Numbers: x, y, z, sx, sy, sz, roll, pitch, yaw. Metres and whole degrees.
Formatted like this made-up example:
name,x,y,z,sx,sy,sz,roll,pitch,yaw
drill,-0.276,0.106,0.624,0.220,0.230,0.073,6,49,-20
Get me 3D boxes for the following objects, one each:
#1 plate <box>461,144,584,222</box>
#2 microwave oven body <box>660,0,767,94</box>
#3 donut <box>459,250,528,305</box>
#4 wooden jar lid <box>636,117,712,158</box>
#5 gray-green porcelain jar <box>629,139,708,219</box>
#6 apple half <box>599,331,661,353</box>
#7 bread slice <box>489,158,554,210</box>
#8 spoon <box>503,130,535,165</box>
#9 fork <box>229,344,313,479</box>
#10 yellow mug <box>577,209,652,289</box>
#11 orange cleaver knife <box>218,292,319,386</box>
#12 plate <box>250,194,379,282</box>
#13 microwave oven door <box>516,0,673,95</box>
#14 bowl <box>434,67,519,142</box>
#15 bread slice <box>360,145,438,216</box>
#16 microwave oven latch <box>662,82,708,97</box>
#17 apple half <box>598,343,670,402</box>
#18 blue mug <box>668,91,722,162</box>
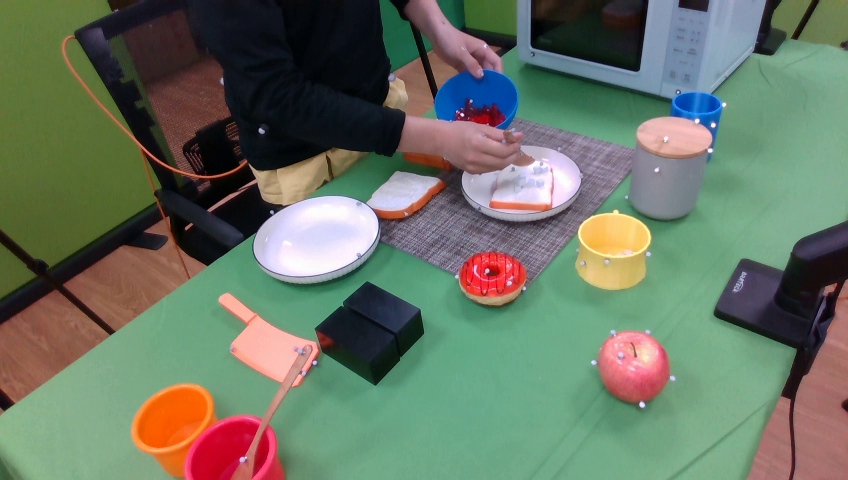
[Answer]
name,x,y,z,sx,sy,sz,roll,pitch,yaw
plate,0.167,-0.095,1.040,0.207,0.039,0.206,-4,40,4
microwave oven body,0.473,-0.516,1.313,0.438,0.261,0.327,26,51,34
donut,0.100,0.053,0.872,0.099,0.048,0.098,-5,40,4
wooden jar lid,0.377,-0.151,0.917,0.108,0.021,0.108,-2,41,3
gray-green porcelain jar,0.383,-0.104,0.958,0.106,0.127,0.105,-4,41,4
apple half,0.249,0.134,0.738,0.081,0.081,0.032,-1,46,7
bread slice,0.173,-0.100,1.048,0.104,0.019,0.131,5,44,12
spoon,0.141,-0.143,0.935,0.041,0.195,0.021,-1,81,18
fork,-0.173,0.205,0.662,0.028,0.019,0.207,29,94,35
yellow mug,0.279,0.004,0.893,0.099,0.064,0.130,5,42,15
orange cleaver knife,-0.234,0.136,0.850,0.209,0.012,0.077,25,57,30
plate,-0.174,0.000,0.984,0.209,0.038,0.208,-3,40,3
microwave oven door,0.344,-0.458,1.257,0.353,0.245,0.039,26,52,33
bowl,0.097,-0.230,1.091,0.151,0.077,0.150,-4,60,7
bread slice,-0.053,-0.103,1.046,0.106,0.018,0.134,19,67,23
microwave oven latch,0.518,-0.298,1.202,0.078,0.029,0.030,28,53,35
apple half,0.247,0.161,0.710,0.081,0.075,0.053,2,47,5
blue mug,0.474,-0.207,1.079,0.082,0.106,0.116,4,42,13
